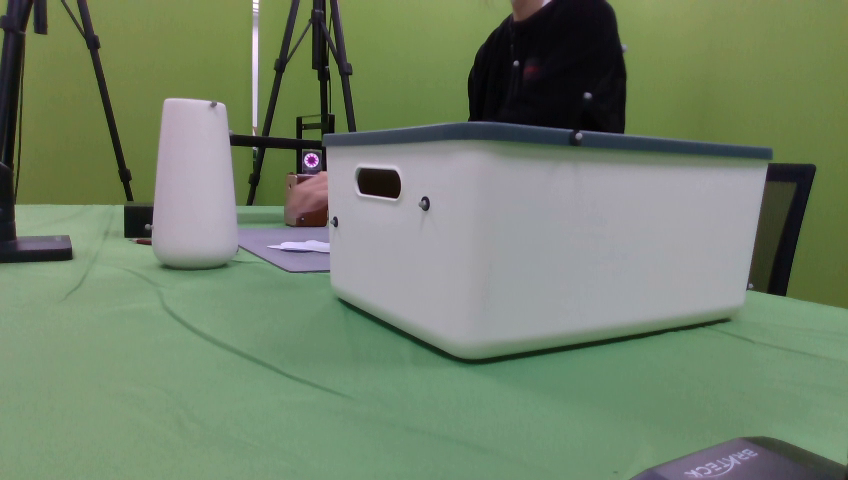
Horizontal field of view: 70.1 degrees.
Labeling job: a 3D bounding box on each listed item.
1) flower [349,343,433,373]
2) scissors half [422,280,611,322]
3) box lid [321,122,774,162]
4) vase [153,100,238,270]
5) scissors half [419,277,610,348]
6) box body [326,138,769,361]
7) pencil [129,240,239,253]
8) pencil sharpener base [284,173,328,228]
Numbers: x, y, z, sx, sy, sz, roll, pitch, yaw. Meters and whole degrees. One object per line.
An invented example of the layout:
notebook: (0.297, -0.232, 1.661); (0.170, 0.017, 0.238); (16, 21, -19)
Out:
flower: (0.103, 0.072, 0.592); (0.362, 0.044, 0.038); (-16, 44, -9)
scissors half: (0.073, 0.057, 0.524); (0.174, 0.040, 0.013); (5, 40, 30)
box lid: (0.114, -0.085, 0.573); (0.373, 0.015, 0.262); (-2, 7, -33)
vase: (-0.278, -0.066, 0.736); (0.098, 0.200, 0.098); (2, 9, 0)
scissors half: (0.076, 0.067, 0.533); (0.174, 0.040, 0.013); (14, 50, 24)
box body: (0.112, -0.010, 0.583); (0.366, 0.160, 0.253); (-2, 9, -33)
pencil: (-0.350, 0.008, 0.874); (0.193, 0.012, 0.012); (3, 7, 19)
pencil sharpener base: (-0.239, -0.081, 1.231); (0.077, 0.107, 0.061); (-2, 8, -36)
